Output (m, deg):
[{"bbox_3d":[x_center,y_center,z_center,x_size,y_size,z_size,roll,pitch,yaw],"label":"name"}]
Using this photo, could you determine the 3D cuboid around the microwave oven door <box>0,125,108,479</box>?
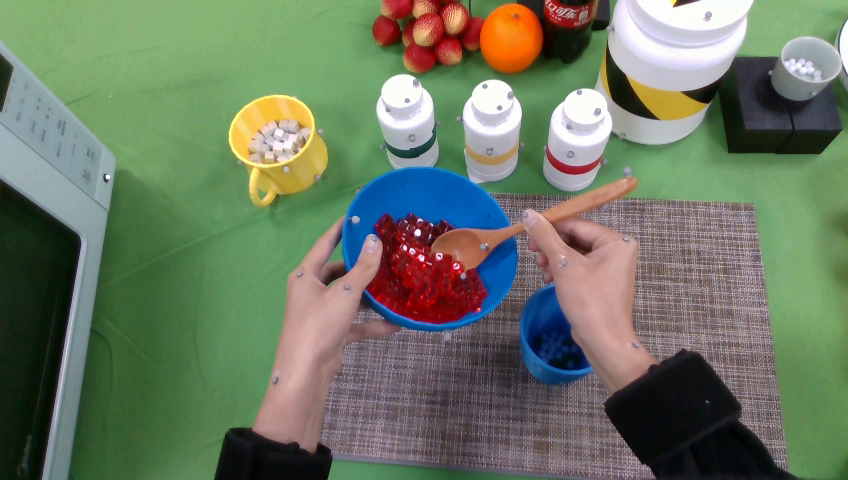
[{"bbox_3d":[-0.385,0.078,0.536,0.039,0.246,0.353,-6,66,3],"label":"microwave oven door"}]

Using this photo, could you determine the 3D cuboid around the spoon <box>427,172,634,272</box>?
[{"bbox_3d":[0.080,-0.014,0.498,0.193,0.022,0.041,-22,84,38],"label":"spoon"}]

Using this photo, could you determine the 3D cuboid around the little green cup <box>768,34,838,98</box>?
[{"bbox_3d":[0.409,-0.187,0.659,0.061,0.039,0.061,-1,65,3],"label":"little green cup"}]

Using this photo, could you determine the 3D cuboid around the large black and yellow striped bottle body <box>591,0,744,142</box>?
[{"bbox_3d":[0.259,-0.207,0.656,0.131,0.185,0.129,-2,66,5],"label":"large black and yellow striped bottle body"}]

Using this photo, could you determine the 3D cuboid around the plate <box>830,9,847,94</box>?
[{"bbox_3d":[0.582,-0.206,0.708,0.209,0.038,0.207,-2,67,4],"label":"plate"}]

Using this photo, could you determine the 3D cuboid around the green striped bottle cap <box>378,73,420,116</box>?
[{"bbox_3d":[-0.026,-0.153,0.635,0.044,0.020,0.044,-1,65,3],"label":"green striped bottle cap"}]

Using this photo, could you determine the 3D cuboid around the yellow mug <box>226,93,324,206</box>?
[{"bbox_3d":[-0.179,-0.100,0.712,0.100,0.064,0.130,12,68,10],"label":"yellow mug"}]

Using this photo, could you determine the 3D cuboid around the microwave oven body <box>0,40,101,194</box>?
[{"bbox_3d":[-0.532,0.057,0.564,0.326,0.262,0.438,-6,66,2],"label":"microwave oven body"}]

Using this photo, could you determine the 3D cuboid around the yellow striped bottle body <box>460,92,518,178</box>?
[{"bbox_3d":[0.072,-0.124,0.671,0.063,0.121,0.062,-2,65,5],"label":"yellow striped bottle body"}]

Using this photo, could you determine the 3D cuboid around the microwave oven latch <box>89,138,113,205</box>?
[{"bbox_3d":[-0.391,-0.080,0.717,0.030,0.030,0.078,-4,67,3],"label":"microwave oven latch"}]

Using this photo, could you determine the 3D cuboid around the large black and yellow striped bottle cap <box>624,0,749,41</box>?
[{"bbox_3d":[0.251,-0.240,0.579,0.115,0.019,0.114,-2,65,5],"label":"large black and yellow striped bottle cap"}]

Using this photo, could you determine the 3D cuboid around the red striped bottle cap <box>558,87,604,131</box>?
[{"bbox_3d":[0.158,-0.132,0.609,0.044,0.018,0.044,0,65,1],"label":"red striped bottle cap"}]

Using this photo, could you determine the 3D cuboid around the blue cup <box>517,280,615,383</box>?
[{"bbox_3d":[0.128,0.096,0.576,0.092,0.101,0.092,-2,66,4],"label":"blue cup"}]

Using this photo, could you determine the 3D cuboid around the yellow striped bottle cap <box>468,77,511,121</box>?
[{"bbox_3d":[0.068,-0.146,0.624,0.044,0.019,0.044,-1,68,4],"label":"yellow striped bottle cap"}]

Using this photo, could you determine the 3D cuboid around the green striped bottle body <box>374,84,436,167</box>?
[{"bbox_3d":[-0.021,-0.132,0.683,0.063,0.120,0.062,-2,66,4],"label":"green striped bottle body"}]

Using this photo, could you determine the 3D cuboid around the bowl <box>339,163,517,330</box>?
[{"bbox_3d":[-0.003,0.016,0.529,0.152,0.077,0.150,7,62,-12],"label":"bowl"}]

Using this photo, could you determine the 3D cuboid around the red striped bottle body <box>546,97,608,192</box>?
[{"bbox_3d":[0.164,-0.109,0.657,0.063,0.121,0.062,-4,62,9],"label":"red striped bottle body"}]
